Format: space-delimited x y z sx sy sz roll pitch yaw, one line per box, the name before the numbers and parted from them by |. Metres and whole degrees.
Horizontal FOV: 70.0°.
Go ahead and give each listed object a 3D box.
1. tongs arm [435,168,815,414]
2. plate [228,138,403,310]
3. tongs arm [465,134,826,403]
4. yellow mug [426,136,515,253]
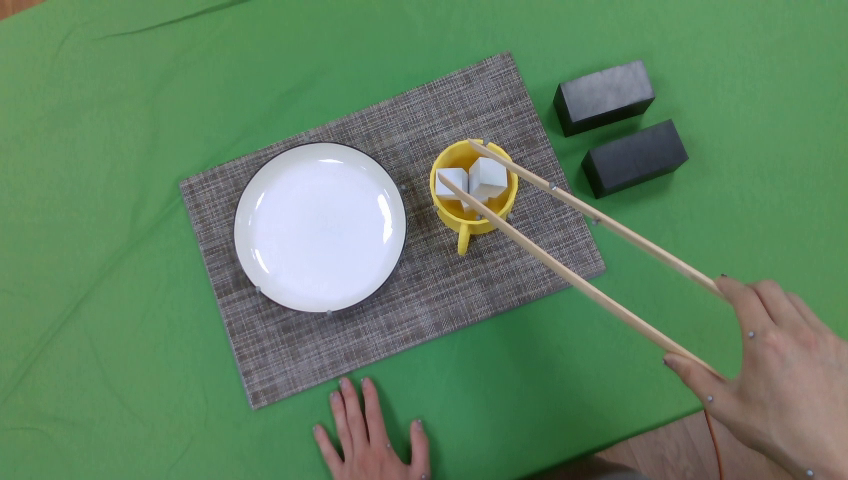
tongs arm | 0.142 0.027 0.534 0.028 0.028 0.383 -46 56 -9
plate | -0.127 -0.018 0.727 0.207 0.039 0.207 -1 81 4
tongs arm | 0.163 0.004 0.536 0.381 0.027 0.050 36 82 33
yellow mug | 0.051 -0.049 0.705 0.100 0.064 0.130 10 82 5
